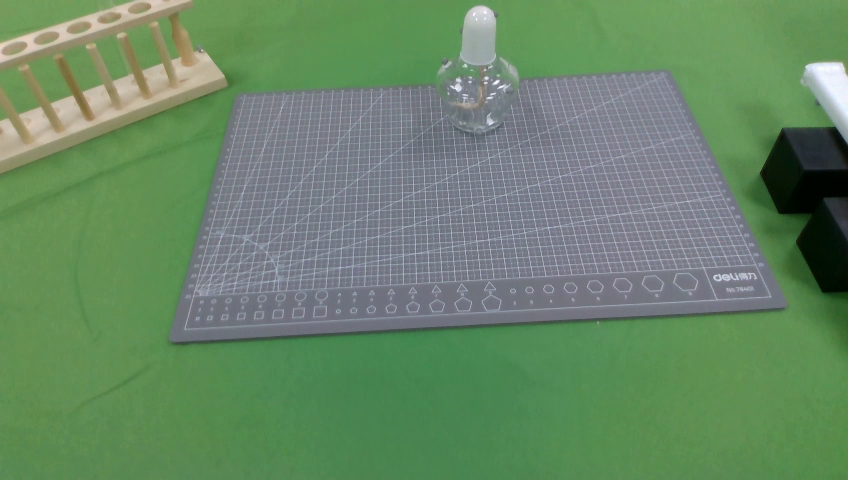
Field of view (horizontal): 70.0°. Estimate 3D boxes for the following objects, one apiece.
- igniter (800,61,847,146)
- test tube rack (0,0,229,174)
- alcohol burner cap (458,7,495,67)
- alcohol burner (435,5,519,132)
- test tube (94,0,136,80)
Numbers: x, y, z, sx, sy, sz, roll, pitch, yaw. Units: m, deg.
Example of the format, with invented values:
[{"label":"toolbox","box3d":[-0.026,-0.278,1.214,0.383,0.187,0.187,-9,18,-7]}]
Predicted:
[{"label":"igniter","box3d":[0.341,-0.048,0.441,0.057,0.025,0.274,-2,48,6]},{"label":"test tube rack","box3d":[-0.327,-0.156,0.589,0.242,0.086,0.066,-28,54,-19]},{"label":"alcohol burner cap","box3d":[0.047,-0.179,0.527,0.034,0.048,0.033,1,49,0]},{"label":"alcohol burner","box3d":[0.049,-0.158,0.550,0.078,0.120,0.077,0,51,1]},{"label":"test tube","box3d":[-0.302,-0.221,0.577,0.017,0.151,0.017,-1,46,2]}]
